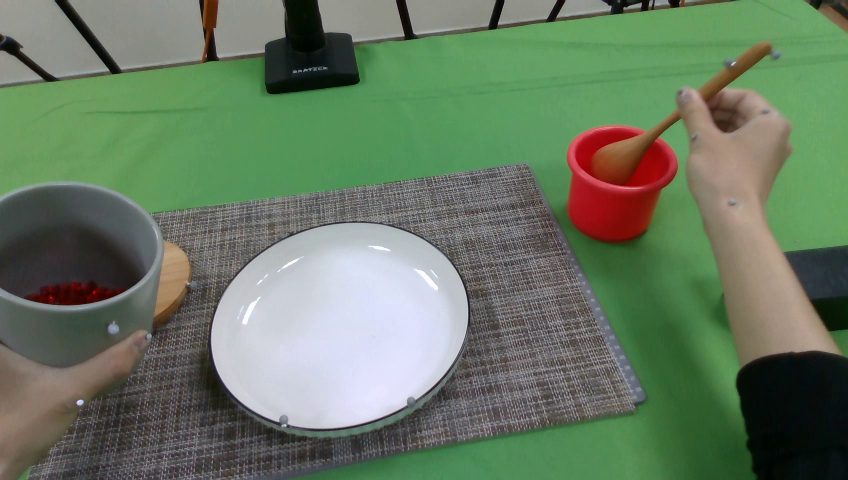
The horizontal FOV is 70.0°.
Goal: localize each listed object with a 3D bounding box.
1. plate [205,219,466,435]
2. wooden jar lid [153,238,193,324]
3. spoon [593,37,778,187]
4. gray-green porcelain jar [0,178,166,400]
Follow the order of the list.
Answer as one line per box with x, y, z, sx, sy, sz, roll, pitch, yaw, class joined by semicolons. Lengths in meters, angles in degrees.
-0.069;0.068;0.499;0.208;0.039;0.205;-1;47;1;plate
-0.262;0.040;0.544;0.108;0.021;0.107;0;45;1;wooden jar lid
0.212;-0.104;0.515;0.021;0.194;0.041;-27;78;-42;spoon
-0.238;0.039;0.409;0.106;0.127;0.105;17;43;-16;gray-green porcelain jar
